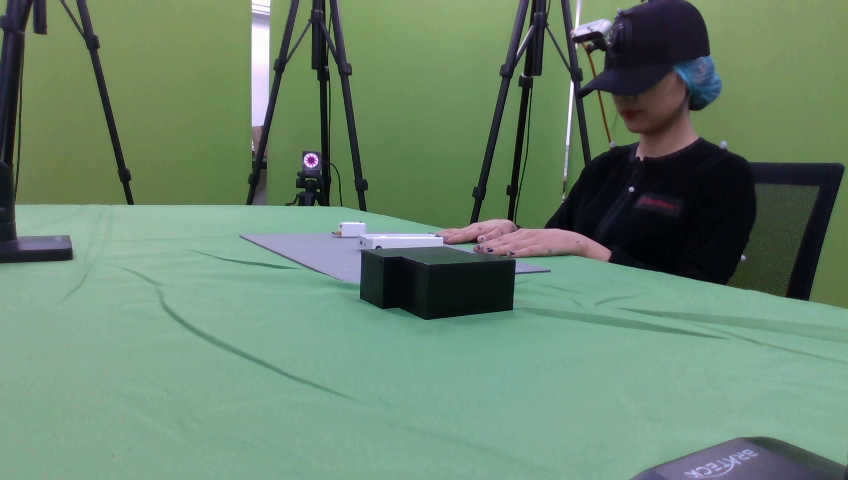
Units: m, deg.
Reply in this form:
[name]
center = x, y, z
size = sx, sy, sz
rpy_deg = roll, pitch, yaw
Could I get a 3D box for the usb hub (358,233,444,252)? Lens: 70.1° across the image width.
[usb hub]
center = -0.035, 0.003, 0.928
size = 0.126, 0.025, 0.049
rpy_deg = -1, 8, -23

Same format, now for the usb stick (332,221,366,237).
[usb stick]
center = -0.134, -0.019, 1.070
size = 0.059, 0.027, 0.021
rpy_deg = -4, 11, -26
